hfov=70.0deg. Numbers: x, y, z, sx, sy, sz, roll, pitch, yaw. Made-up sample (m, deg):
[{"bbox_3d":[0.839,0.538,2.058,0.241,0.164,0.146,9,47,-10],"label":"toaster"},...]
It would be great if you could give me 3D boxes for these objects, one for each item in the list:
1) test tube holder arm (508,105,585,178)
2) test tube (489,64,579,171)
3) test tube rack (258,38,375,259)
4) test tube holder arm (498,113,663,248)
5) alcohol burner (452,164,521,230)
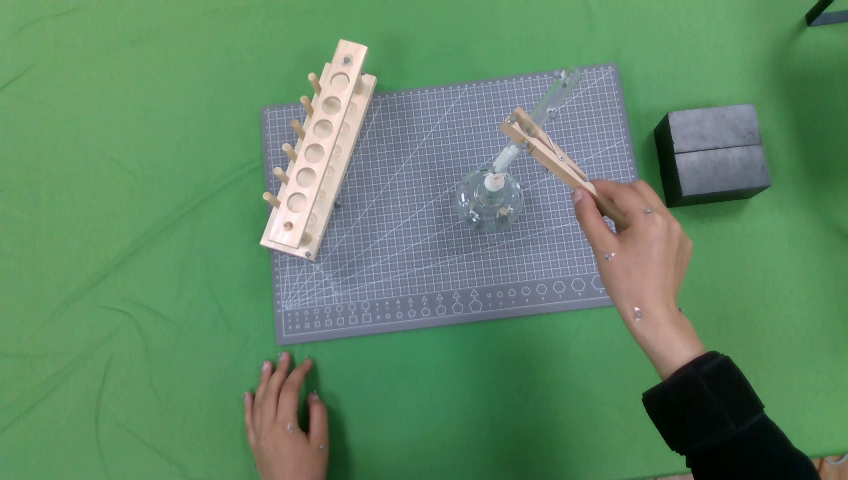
[{"bbox_3d":[0.108,-0.085,0.538,0.087,0.015,0.010,46,63,3],"label":"test tube holder arm"},{"bbox_3d":[0.091,-0.100,0.529,0.017,0.150,0.017,7,65,-15],"label":"test tube"},{"bbox_3d":[-0.131,-0.108,0.704,0.066,0.085,0.241,17,80,6],"label":"test tube rack"},{"bbox_3d":[0.138,-0.051,0.535,0.178,0.015,0.013,40,63,-1],"label":"test tube holder arm"},{"bbox_3d":[0.071,-0.052,0.673,0.078,0.119,0.077,0,77,0],"label":"alcohol burner"}]
